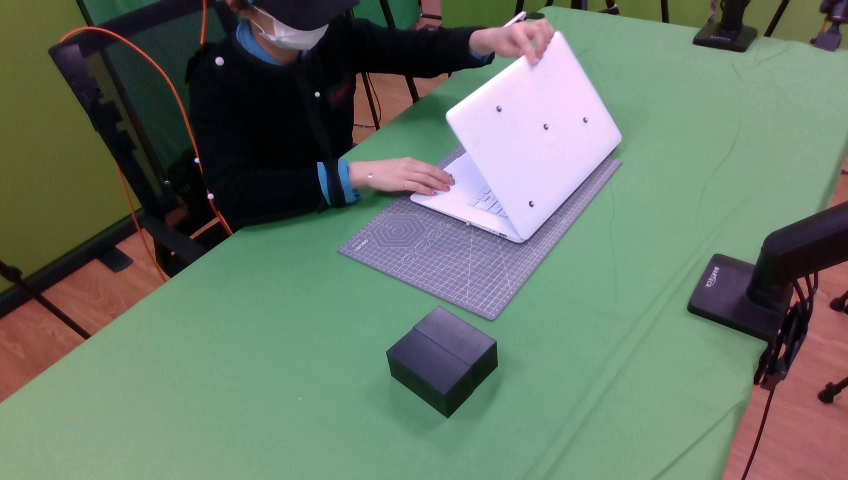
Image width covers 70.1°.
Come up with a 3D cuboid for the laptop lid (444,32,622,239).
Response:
[{"bbox_3d":[0.199,-0.187,1.005,0.358,0.242,0.013,-40,12,-35],"label":"laptop lid"}]

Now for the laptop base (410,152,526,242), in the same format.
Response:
[{"bbox_3d":[0.171,-0.126,1.096,0.233,0.023,0.355,21,47,34],"label":"laptop base"}]
